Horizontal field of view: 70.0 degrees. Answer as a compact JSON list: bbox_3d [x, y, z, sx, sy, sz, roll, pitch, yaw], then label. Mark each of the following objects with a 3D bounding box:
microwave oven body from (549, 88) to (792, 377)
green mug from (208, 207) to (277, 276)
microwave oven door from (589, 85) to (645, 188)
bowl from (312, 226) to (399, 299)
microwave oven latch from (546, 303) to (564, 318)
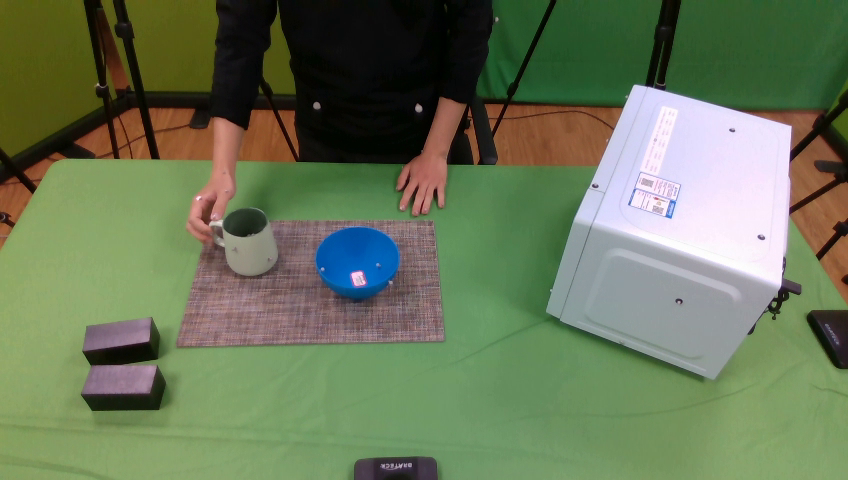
[{"bbox_3d":[0.456,-0.028,1.088,0.325,0.261,0.440,20,47,16],"label":"microwave oven body"},{"bbox_3d":[-0.335,0.000,1.108,0.125,0.105,0.092,14,47,9],"label":"green mug"},{"bbox_3d":[0.342,-0.107,1.149,0.039,0.245,0.354,20,48,15],"label":"microwave oven door"},{"bbox_3d":[-0.120,0.054,1.091,0.151,0.077,0.150,2,46,-2],"label":"bowl"},{"bbox_3d":[0.242,0.102,1.081,0.030,0.029,0.079,21,48,17],"label":"microwave oven latch"}]
